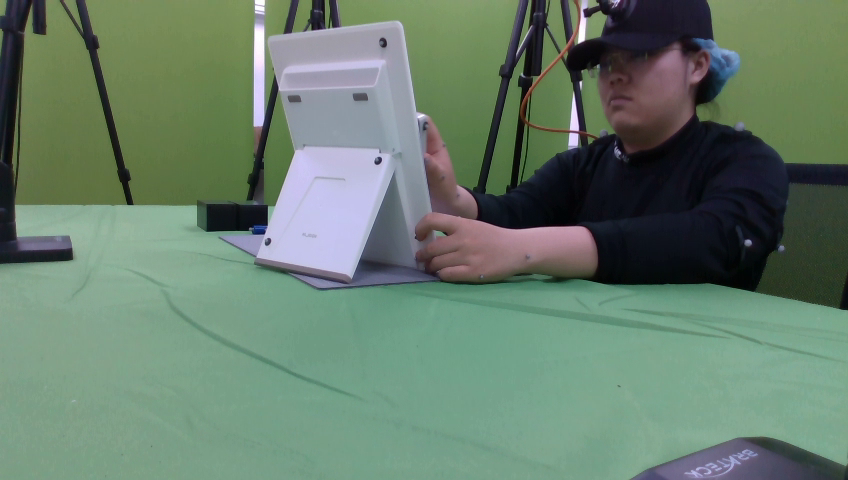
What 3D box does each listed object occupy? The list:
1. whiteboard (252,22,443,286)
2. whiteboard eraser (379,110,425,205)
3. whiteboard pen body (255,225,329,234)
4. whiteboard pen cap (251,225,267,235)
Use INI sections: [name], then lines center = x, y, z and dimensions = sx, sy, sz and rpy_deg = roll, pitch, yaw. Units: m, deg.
[whiteboard]
center = -0.125, -0.080, 0.715
dimensions = 0.216, 0.305, 0.144
rpy_deg = 9, 29, 36
[whiteboard eraser]
center = -0.028, -0.100, 0.745
dimensions = 0.055, 0.112, 0.042
rpy_deg = 16, 32, 29
[whiteboard pen body]
center = -0.239, -0.019, 1.105
dimensions = 0.141, 0.017, 0.017
rpy_deg = -2, 9, -33
[whiteboard pen cap]
center = -0.288, -0.018, 1.072
dimensions = 0.033, 0.018, 0.018
rpy_deg = -3, 10, -34
